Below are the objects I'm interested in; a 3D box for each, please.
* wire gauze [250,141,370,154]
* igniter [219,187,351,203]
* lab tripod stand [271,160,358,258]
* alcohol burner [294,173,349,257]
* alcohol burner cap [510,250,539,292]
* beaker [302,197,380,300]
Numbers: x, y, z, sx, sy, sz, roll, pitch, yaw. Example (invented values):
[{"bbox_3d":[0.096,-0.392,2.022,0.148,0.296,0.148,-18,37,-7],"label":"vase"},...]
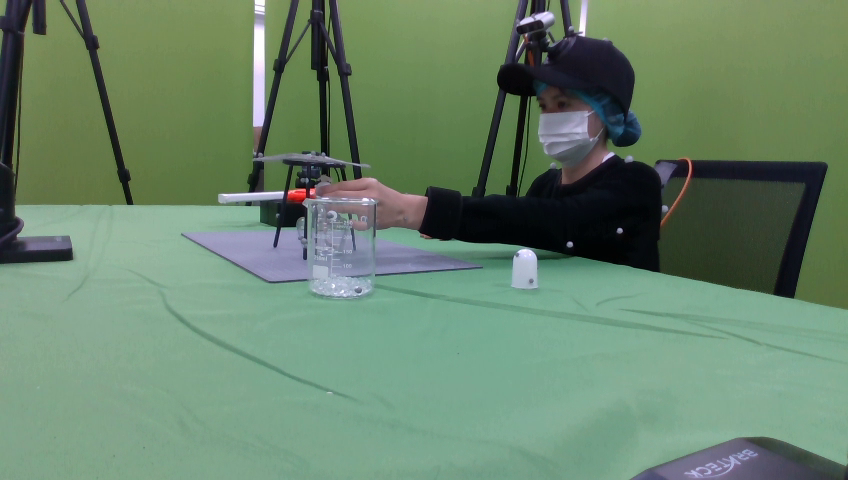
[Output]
[{"bbox_3d":[-0.163,-0.131,0.867,0.124,0.011,0.122,-1,8,32],"label":"wire gauze"},{"bbox_3d":[-0.280,-0.092,1.254,0.278,0.025,0.057,-6,11,-34],"label":"igniter"},{"bbox_3d":[-0.160,-0.048,0.876,0.148,0.131,0.148,3,5,0],"label":"lab tripod stand"},{"bbox_3d":[-0.146,-0.036,0.867,0.078,0.119,0.078,1,6,0],"label":"alcohol burner"},{"bbox_3d":[0.118,0.036,0.704,0.034,0.048,0.034,0,7,0],"label":"alcohol burner cap"},{"bbox_3d":[-0.089,0.007,0.625,0.084,0.100,0.074,4,7,16],"label":"beaker"}]
